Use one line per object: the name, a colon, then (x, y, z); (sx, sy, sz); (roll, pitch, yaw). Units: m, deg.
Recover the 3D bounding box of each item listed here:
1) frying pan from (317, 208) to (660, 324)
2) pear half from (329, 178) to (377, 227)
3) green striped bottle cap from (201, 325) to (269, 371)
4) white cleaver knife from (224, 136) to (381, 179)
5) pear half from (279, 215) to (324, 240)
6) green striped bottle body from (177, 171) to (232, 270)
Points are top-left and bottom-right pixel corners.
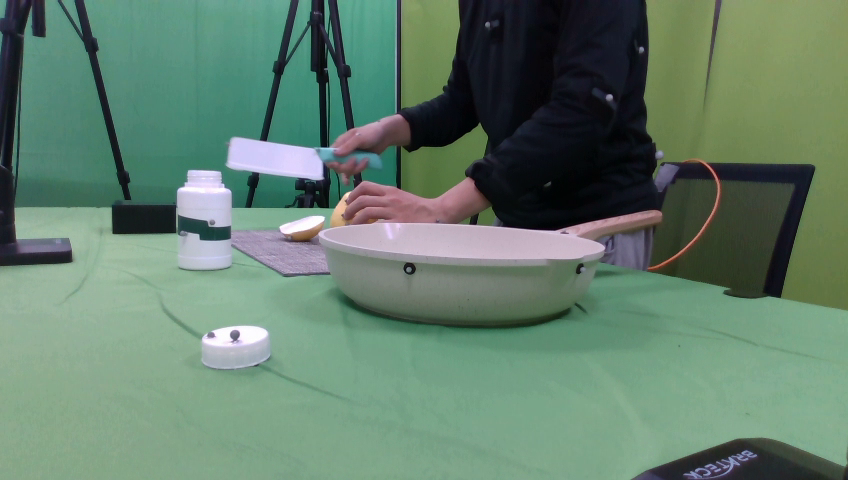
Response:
frying pan: (0.121, 0.006, 0.691); (0.490, 0.102, 0.305); (-13, 15, -33)
pear half: (-0.105, -0.042, 0.945); (0.077, 0.110, 0.055); (-10, 14, -42)
green striped bottle cap: (-0.129, 0.073, 0.415); (0.044, 0.020, 0.044); (3, 8, 0)
white cleaver knife: (-0.212, -0.142, 1.092); (0.288, 0.066, 0.021); (2, -11, -26)
pear half: (-0.206, -0.017, 1.018); (0.087, 0.031, 0.070); (-6, 17, 36)
green striped bottle body: (-0.273, -0.026, 0.753); (0.063, 0.119, 0.063); (2, 7, 0)
